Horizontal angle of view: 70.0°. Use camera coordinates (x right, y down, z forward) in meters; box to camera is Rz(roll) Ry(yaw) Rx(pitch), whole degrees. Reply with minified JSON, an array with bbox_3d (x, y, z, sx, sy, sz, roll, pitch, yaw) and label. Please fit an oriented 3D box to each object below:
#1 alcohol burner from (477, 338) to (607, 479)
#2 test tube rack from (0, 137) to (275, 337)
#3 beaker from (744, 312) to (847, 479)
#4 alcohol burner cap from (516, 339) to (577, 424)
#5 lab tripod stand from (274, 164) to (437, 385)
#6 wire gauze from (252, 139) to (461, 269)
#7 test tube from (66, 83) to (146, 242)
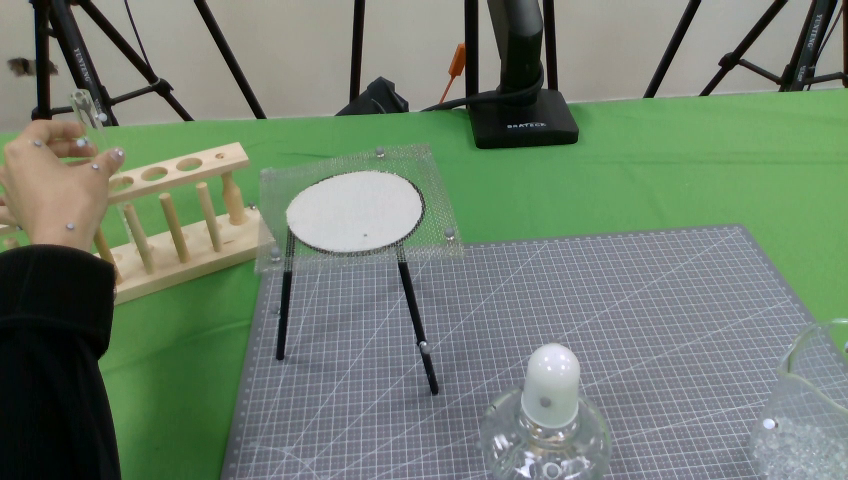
[{"bbox_3d":[0.070,0.102,0.355,0.078,0.120,0.077,-1,38,1],"label":"alcohol burner"},{"bbox_3d":[-0.263,-0.006,0.523,0.243,0.086,0.066,-20,43,-20],"label":"test tube rack"},{"bbox_3d":[0.236,0.103,0.357,0.084,0.101,0.073,3,40,8],"label":"beaker"},{"bbox_3d":[0.068,0.075,0.332,0.034,0.048,0.033,-2,42,2],"label":"alcohol burner cap"},{"bbox_3d":[-0.046,0.025,0.435,0.148,0.133,0.147,-2,42,2],"label":"lab tripod stand"},{"bbox_3d":[-0.048,-0.026,0.391,0.125,0.011,0.120,-8,41,-6],"label":"wire gauze"},{"bbox_3d":[-0.262,-0.058,0.506,0.017,0.151,0.017,-1,40,1],"label":"test tube"}]
